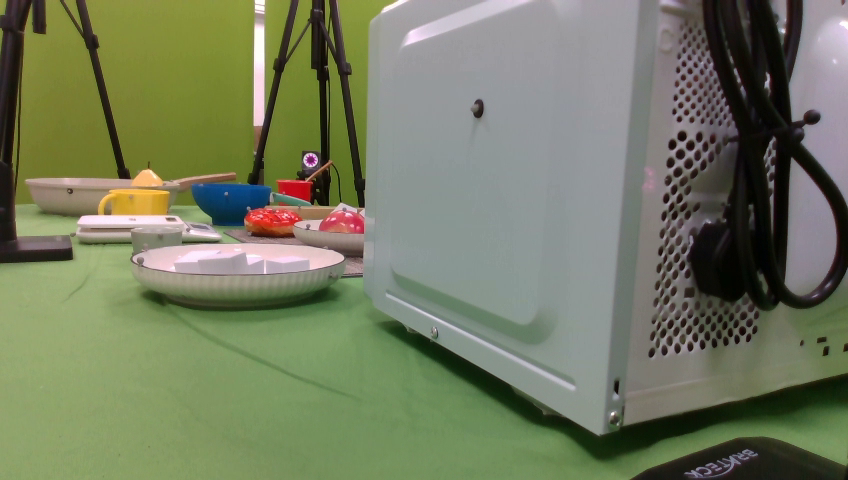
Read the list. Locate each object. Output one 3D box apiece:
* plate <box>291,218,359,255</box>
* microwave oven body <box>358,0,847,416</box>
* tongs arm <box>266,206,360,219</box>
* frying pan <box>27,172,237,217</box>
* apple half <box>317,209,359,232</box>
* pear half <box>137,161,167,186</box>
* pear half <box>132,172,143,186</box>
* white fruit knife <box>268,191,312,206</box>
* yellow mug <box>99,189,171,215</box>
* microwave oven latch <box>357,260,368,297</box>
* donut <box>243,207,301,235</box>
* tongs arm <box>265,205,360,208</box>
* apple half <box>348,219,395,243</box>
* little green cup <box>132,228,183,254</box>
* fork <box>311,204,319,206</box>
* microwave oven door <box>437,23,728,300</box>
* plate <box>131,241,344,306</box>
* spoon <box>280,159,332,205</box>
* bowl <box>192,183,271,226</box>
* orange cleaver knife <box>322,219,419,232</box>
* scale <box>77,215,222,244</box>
[{"bbox_3d":[-0.098,-0.007,0.928,0.209,0.038,0.209,2,8,0],"label":"plate"},{"bbox_3d":[0.211,-0.047,0.475,0.444,0.260,0.324,-1,7,-28],"label":"microwave oven body"},{"bbox_3d":[-0.174,-0.060,1.363,0.387,0.026,0.050,-1,3,-31],"label":"tongs arm"},{"bbox_3d":[-0.624,-0.118,1.387,0.305,0.102,0.490,8,17,32],"label":"frying pan"},{"bbox_3d":[-0.122,-0.020,0.900,0.080,0.053,0.075,4,10,14],"label":"apple half"},{"bbox_3d":[-0.602,-0.120,1.354,0.056,0.110,0.076,4,11,6],"label":"pear half"},{"bbox_3d":[-0.638,-0.113,1.361,0.031,0.088,0.070,5,10,4],"label":"pear half"},{"bbox_3d":[-0.364,-0.105,1.464,0.208,0.027,0.016,15,0,-34],"label":"white fruit knife"},{"bbox_3d":[-0.518,-0.055,1.080,0.099,0.064,0.131,6,9,26],"label":"yellow mug"},{"bbox_3d":[-0.019,0.033,0.530,0.079,0.029,0.030,0,7,-26],"label":"microwave oven latch"},{"bbox_3d":[-0.261,-0.032,1.043,0.099,0.048,0.099,4,9,0],"label":"donut"},{"bbox_3d":[-0.211,-0.067,1.439,0.389,0.027,0.028,1,-1,-17],"label":"tongs arm"},{"bbox_3d":[-0.083,-0.018,0.967,0.081,0.033,0.081,5,10,-1],"label":"apple half"},{"bbox_3d":[-0.342,0.006,0.779,0.061,0.038,0.061,2,8,0],"label":"little green cup"},{"bbox_3d":[-0.356,-0.105,1.526,0.208,0.018,0.028,16,-5,-41],"label":"fork"},{"bbox_3d":[0.180,-0.072,0.621,0.358,0.243,0.039,-2,9,-29],"label":"microwave oven door"},{"bbox_3d":[-0.187,0.033,0.625,0.208,0.039,0.207,2,8,0],"label":"plate"},{"bbox_3d":[-0.317,-0.158,1.640,0.194,0.022,0.041,-50,30,-20],"label":"spoon"},{"bbox_3d":[-0.382,-0.071,1.202,0.151,0.077,0.151,3,7,0],"label":"bowl"},{"bbox_3d":[-0.097,-0.027,1.153,0.077,0.012,0.212,1,6,41],"label":"orange cleaver knife"},{"bbox_3d":[-0.434,-0.019,0.963,0.202,0.031,0.148,-1,9,-27],"label":"scale"}]
